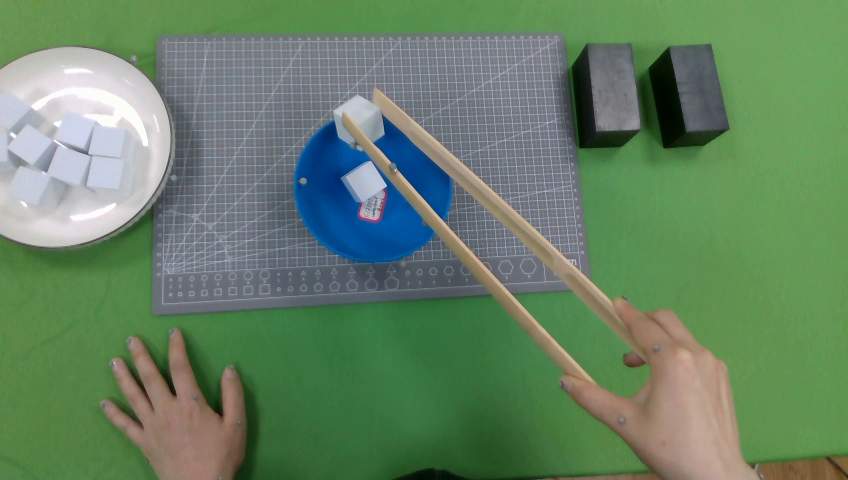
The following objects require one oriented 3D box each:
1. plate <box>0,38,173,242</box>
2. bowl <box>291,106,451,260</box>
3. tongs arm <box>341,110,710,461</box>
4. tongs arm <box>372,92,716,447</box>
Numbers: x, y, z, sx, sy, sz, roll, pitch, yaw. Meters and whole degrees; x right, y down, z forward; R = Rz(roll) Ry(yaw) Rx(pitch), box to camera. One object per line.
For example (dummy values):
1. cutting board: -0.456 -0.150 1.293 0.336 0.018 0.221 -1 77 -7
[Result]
1. plate: -0.354 -0.097 0.603 0.208 0.039 0.207 1 80 -5
2. bowl: -0.052 -0.048 0.604 0.151 0.077 0.150 1 79 -6
3. tongs arm: 0.064 0.021 0.482 0.051 0.027 0.382 -33 71 -22
4. tongs arm: 0.082 0.008 0.491 0.028 0.028 0.385 -36 72 -27
